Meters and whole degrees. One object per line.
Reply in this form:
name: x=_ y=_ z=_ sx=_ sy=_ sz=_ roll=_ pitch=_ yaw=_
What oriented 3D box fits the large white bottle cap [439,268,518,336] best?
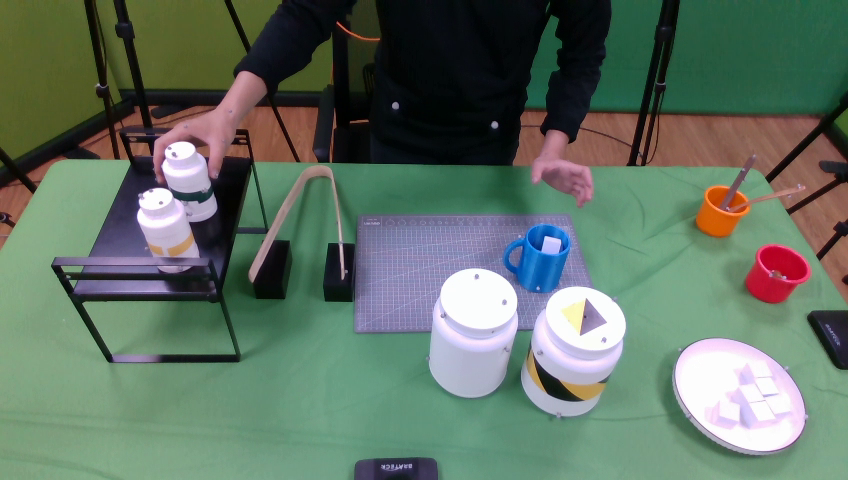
large white bottle cap: x=0.080 y=0.089 z=0.888 sx=0.115 sy=0.018 sz=0.114 roll=2 pitch=47 yaw=-2

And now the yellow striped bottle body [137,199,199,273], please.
yellow striped bottle body: x=-0.366 y=-0.014 z=0.864 sx=0.063 sy=0.121 sz=0.062 roll=2 pitch=46 yaw=-2

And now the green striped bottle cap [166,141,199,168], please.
green striped bottle cap: x=-0.359 y=-0.127 z=0.900 sx=0.044 sy=0.020 sz=0.044 roll=4 pitch=46 yaw=-4

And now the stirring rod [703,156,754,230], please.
stirring rod: x=0.631 y=-0.098 z=1.258 sx=0.014 sy=0.006 sz=0.176 roll=33 pitch=95 yaw=29

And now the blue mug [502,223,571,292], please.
blue mug: x=0.202 y=0.031 z=1.121 sx=0.116 sy=0.106 sz=0.082 roll=5 pitch=47 yaw=1

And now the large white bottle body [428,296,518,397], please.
large white bottle body: x=0.076 y=0.147 z=0.950 sx=0.131 sy=0.185 sz=0.130 roll=2 pitch=46 yaw=-2

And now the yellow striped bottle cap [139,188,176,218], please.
yellow striped bottle cap: x=-0.363 y=-0.051 z=0.826 sx=0.044 sy=0.019 sz=0.044 roll=1 pitch=47 yaw=-1

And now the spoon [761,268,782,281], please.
spoon: x=0.638 y=0.060 z=1.105 sx=0.041 sy=0.021 sz=0.194 roll=38 pitch=11 yaw=24

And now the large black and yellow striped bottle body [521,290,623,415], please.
large black and yellow striped bottle body: x=0.228 y=0.173 z=0.938 sx=0.131 sy=0.185 sz=0.130 roll=2 pitch=47 yaw=-2

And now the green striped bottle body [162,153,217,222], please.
green striped bottle body: x=-0.363 y=-0.090 z=0.936 sx=0.063 sy=0.120 sz=0.063 roll=3 pitch=47 yaw=-3

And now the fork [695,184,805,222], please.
fork: x=0.657 y=-0.075 z=1.230 sx=0.207 sy=0.019 sz=0.028 roll=-23 pitch=34 yaw=37

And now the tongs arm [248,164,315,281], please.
tongs arm: x=-0.270 y=-0.048 z=1.165 sx=0.028 sy=0.028 sz=0.385 roll=0 pitch=34 yaw=7

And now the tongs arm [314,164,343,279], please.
tongs arm: x=-0.188 y=-0.049 z=1.170 sx=0.051 sy=0.026 sz=0.382 roll=-5 pitch=35 yaw=-6

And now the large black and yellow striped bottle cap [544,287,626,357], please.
large black and yellow striped bottle cap: x=0.232 y=0.116 z=0.876 sx=0.115 sy=0.019 sz=0.114 roll=2 pitch=46 yaw=-1

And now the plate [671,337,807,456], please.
plate: x=0.503 y=0.254 z=0.984 sx=0.208 sy=0.039 sz=0.206 roll=2 pitch=46 yaw=-2
